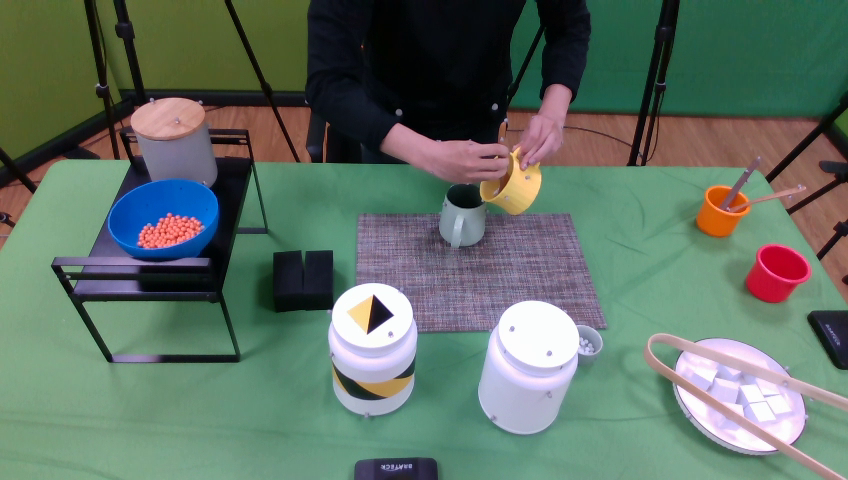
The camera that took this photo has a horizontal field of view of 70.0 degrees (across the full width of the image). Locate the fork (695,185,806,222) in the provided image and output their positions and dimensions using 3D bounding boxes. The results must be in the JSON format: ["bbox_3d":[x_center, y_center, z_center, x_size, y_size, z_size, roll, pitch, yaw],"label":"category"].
[{"bbox_3d":[0.658,-0.074,1.230,0.207,0.019,0.028,-23,36,37],"label":"fork"}]

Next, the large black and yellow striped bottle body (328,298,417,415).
[{"bbox_3d":[-0.078,0.167,0.920,0.131,0.185,0.130,2,46,-2],"label":"large black and yellow striped bottle body"}]

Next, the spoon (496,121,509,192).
[{"bbox_3d":[0.134,-0.136,1.050,0.041,0.195,0.021,-40,58,-16],"label":"spoon"}]

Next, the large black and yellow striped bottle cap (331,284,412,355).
[{"bbox_3d":[-0.073,0.111,0.858,0.115,0.019,0.114,2,46,-2],"label":"large black and yellow striped bottle cap"}]

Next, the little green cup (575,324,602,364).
[{"bbox_3d":[0.269,0.179,1.036,0.061,0.039,0.061,2,46,-2],"label":"little green cup"}]

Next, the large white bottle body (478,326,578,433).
[{"bbox_3d":[0.156,0.192,0.913,0.131,0.185,0.130,2,46,-2],"label":"large white bottle body"}]

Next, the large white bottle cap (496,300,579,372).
[{"bbox_3d":[0.160,0.133,0.852,0.115,0.018,0.114,3,46,-3],"label":"large white bottle cap"}]

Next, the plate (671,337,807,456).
[{"bbox_3d":[0.504,0.254,0.984,0.208,0.039,0.206,2,46,-2],"label":"plate"}]

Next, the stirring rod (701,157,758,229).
[{"bbox_3d":[0.634,-0.097,1.257,0.014,0.006,0.176,38,97,30],"label":"stirring rod"}]

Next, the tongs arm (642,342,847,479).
[{"bbox_3d":[0.504,0.278,0.918,0.386,0.028,0.028,33,59,22],"label":"tongs arm"}]

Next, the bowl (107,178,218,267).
[{"bbox_3d":[-0.374,-0.014,0.893,0.151,0.077,0.150,2,46,-2],"label":"bowl"}]

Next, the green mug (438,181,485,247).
[{"bbox_3d":[0.072,-0.039,1.178,0.092,0.105,0.124,12,47,7],"label":"green mug"}]

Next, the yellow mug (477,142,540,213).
[{"bbox_3d":[0.161,-0.119,1.101,0.064,0.131,0.099,25,17,-26],"label":"yellow mug"}]

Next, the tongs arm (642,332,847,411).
[{"bbox_3d":[0.546,0.227,0.968,0.384,0.026,0.050,22,52,13],"label":"tongs arm"}]

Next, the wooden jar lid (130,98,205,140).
[{"bbox_3d":[-0.393,-0.183,0.934,0.108,0.021,0.107,3,44,-2],"label":"wooden jar lid"}]

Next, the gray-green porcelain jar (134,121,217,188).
[{"bbox_3d":[-0.396,-0.141,0.979,0.106,0.127,0.105,2,47,-2],"label":"gray-green porcelain jar"}]
